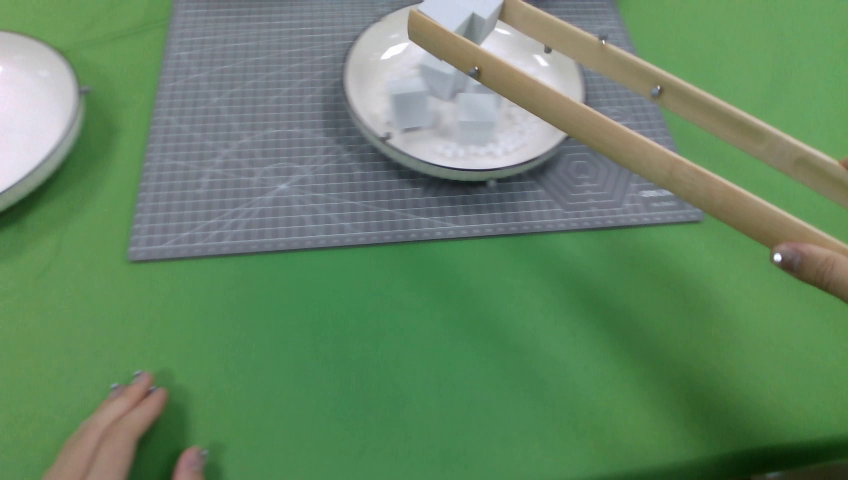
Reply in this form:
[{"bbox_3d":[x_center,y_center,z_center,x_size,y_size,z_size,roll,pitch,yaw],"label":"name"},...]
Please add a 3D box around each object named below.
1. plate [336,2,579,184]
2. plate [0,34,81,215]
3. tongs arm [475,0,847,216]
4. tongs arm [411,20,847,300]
[{"bbox_3d":[0.029,-0.129,0.532,0.209,0.038,0.207,2,58,-3],"label":"plate"},{"bbox_3d":[-0.376,-0.081,0.474,0.208,0.039,0.205,2,58,-3],"label":"plate"},{"bbox_3d":[0.163,-0.074,0.387,0.381,0.027,0.051,37,58,26],"label":"tongs arm"},{"bbox_3d":[0.134,-0.052,0.369,0.384,0.028,0.028,36,54,25],"label":"tongs arm"}]
